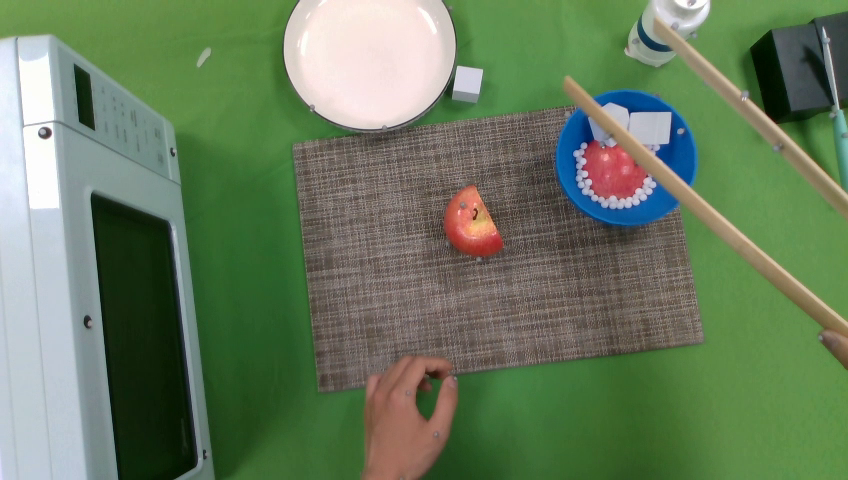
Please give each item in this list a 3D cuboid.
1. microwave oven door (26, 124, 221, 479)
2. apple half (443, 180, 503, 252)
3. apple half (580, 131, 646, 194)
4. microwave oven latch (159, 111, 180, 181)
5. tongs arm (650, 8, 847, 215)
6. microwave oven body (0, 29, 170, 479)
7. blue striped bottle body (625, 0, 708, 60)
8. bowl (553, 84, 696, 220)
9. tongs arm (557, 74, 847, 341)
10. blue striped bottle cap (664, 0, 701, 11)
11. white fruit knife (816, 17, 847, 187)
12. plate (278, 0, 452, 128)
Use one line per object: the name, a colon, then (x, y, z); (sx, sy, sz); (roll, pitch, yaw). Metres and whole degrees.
microwave oven door: (-0.277, 0.094, 0.582); (0.039, 0.244, 0.354); (-10, 83, 1)
apple half: (0.049, -0.020, 0.686); (0.053, 0.075, 0.080); (-28, 87, 2)
apple half: (0.217, -0.091, 0.681); (0.081, 0.033, 0.081); (0, 82, 2)
microwave oven latch: (-0.307, -0.108, 0.707); (0.030, 0.029, 0.079); (-10, 84, 0)
tongs arm: (0.295, -0.056, 0.494); (0.051, 0.027, 0.381); (-34, 66, -1)
microwave oven body: (-0.428, 0.078, 0.592); (0.326, 0.261, 0.440); (-10, 84, 0)
blue striped bottle body: (0.276, -0.257, 0.685); (0.063, 0.121, 0.063); (0, 83, 2)
bowl: (0.216, -0.091, 0.686); (0.151, 0.077, 0.151); (0, 84, 2)
tongs arm: (0.246, -0.021, 0.493); (0.028, 0.028, 0.384); (-39, 66, -7)
blue striped bottle cap: (0.274, -0.265, 0.635); (0.044, 0.020, 0.044); (0, 86, 1)
white fruit knife: (0.466, -0.148, 0.686); (0.016, 0.027, 0.208); (-15, 100, 17)
plate: (-0.069, -0.232, 0.734); (0.208, 0.039, 0.207); (0, 84, 1)
